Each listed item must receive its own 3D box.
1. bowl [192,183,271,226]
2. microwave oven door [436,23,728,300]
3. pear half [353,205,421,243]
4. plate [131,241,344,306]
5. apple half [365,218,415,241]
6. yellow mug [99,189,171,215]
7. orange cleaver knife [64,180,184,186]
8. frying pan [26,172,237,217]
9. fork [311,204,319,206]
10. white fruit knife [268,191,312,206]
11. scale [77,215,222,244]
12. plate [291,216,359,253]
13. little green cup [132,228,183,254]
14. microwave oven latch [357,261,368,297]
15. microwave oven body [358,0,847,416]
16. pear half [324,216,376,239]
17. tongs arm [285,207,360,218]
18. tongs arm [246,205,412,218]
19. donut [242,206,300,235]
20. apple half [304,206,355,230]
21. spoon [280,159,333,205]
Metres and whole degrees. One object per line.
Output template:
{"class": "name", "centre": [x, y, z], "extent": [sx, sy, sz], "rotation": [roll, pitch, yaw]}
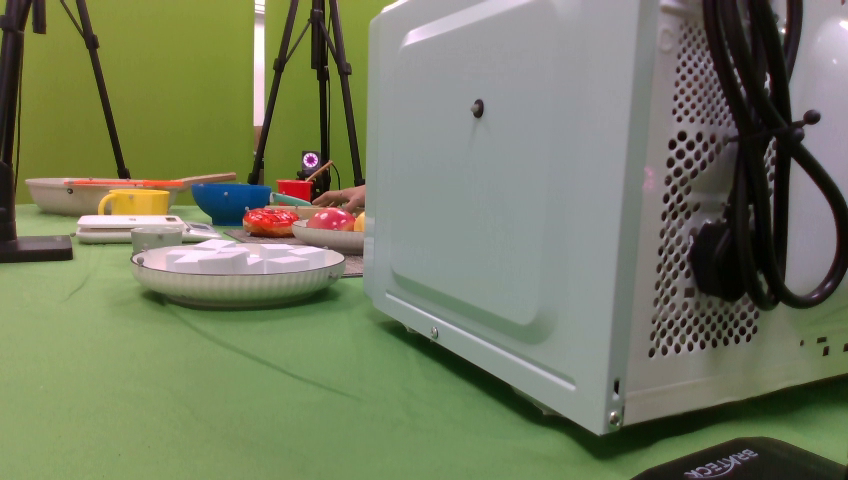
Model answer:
{"class": "bowl", "centre": [-0.382, -0.071, 1.202], "extent": [0.151, 0.077, 0.151], "rotation": [3, 7, 0]}
{"class": "microwave oven door", "centre": [0.180, -0.072, 0.621], "extent": [0.358, 0.243, 0.039], "rotation": [-2, 9, -29]}
{"class": "pear half", "centre": [-0.051, -0.024, 0.905], "extent": [0.110, 0.056, 0.076], "rotation": [1, -2, -38]}
{"class": "plate", "centre": [-0.187, 0.033, 0.625], "extent": [0.208, 0.039, 0.207], "rotation": [2, 7, 0]}
{"class": "apple half", "centre": [-0.053, -0.019, 0.966], "extent": [0.081, 0.033, 0.081], "rotation": [-4, 12, 1]}
{"class": "yellow mug", "centre": [-0.519, -0.055, 1.080], "extent": [0.099, 0.064, 0.131], "rotation": [7, 9, 26]}
{"class": "orange cleaver knife", "centre": [-0.595, -0.114, 1.212], "extent": [0.212, 0.012, 0.077], "rotation": [-4, 6, -41]}
{"class": "frying pan", "centre": [-0.624, -0.118, 1.387], "extent": [0.305, 0.102, 0.490], "rotation": [8, 17, 32]}
{"class": "fork", "centre": [-0.356, -0.105, 1.526], "extent": [0.208, 0.018, 0.028], "rotation": [16, -5, -41]}
{"class": "white fruit knife", "centre": [-0.364, -0.105, 1.464], "extent": [0.208, 0.027, 0.016], "rotation": [15, -1, -34]}
{"class": "scale", "centre": [-0.434, -0.019, 0.963], "extent": [0.202, 0.031, 0.148], "rotation": [-1, 9, -27]}
{"class": "plate", "centre": [-0.103, -0.009, 0.945], "extent": [0.209, 0.038, 0.209], "rotation": [2, 8, 0]}
{"class": "little green cup", "centre": [-0.342, 0.006, 0.779], "extent": [0.061, 0.038, 0.061], "rotation": [2, 8, 0]}
{"class": "microwave oven latch", "centre": [-0.019, 0.033, 0.531], "extent": [0.079, 0.029, 0.030], "rotation": [-1, 7, -27]}
{"class": "microwave oven body", "centre": [0.211, -0.047, 0.475], "extent": [0.444, 0.260, 0.324], "rotation": [-1, 7, -28]}
{"class": "pear half", "centre": [-0.119, -0.023, 0.996], "extent": [0.088, 0.031, 0.070], "rotation": [-4, 23, -28]}
{"class": "tongs arm", "centre": [-0.181, -0.061, 1.361], "extent": [0.387, 0.026, 0.050], "rotation": [-1, 3, -32]}
{"class": "tongs arm", "centre": [-0.220, -0.067, 1.438], "extent": [0.389, 0.027, 0.028], "rotation": [0, -1, -18]}
{"class": "donut", "centre": [-0.263, -0.032, 1.039], "extent": [0.099, 0.048, 0.099], "rotation": [4, 10, 0]}
{"class": "apple half", "centre": [-0.138, -0.025, 0.917], "extent": [0.081, 0.053, 0.074], "rotation": [0, 10, -43]}
{"class": "spoon", "centre": [-0.316, -0.159, 1.640], "extent": [0.194, 0.022, 0.041], "rotation": [-50, 32, -20]}
